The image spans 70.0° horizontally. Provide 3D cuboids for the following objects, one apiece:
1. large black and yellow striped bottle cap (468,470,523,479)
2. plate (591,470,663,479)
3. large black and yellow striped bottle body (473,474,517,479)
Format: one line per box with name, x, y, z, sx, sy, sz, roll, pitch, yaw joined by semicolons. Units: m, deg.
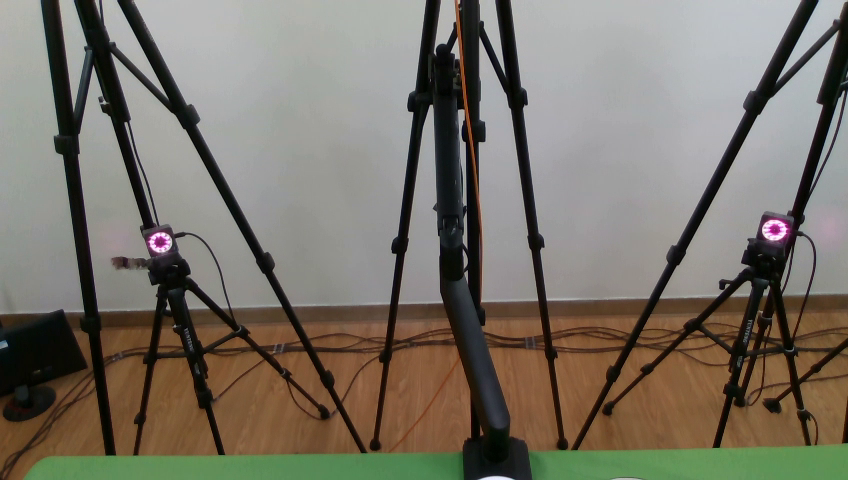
large black and yellow striped bottle cap;0.100;0.366;0.826;0.115;0.019;0.114;-1;33;1
plate;0.338;0.461;0.955;0.209;0.038;0.207;-2;32;2
large black and yellow striped bottle body;0.103;0.439;0.870;0.131;0.185;0.129;-2;32;2
